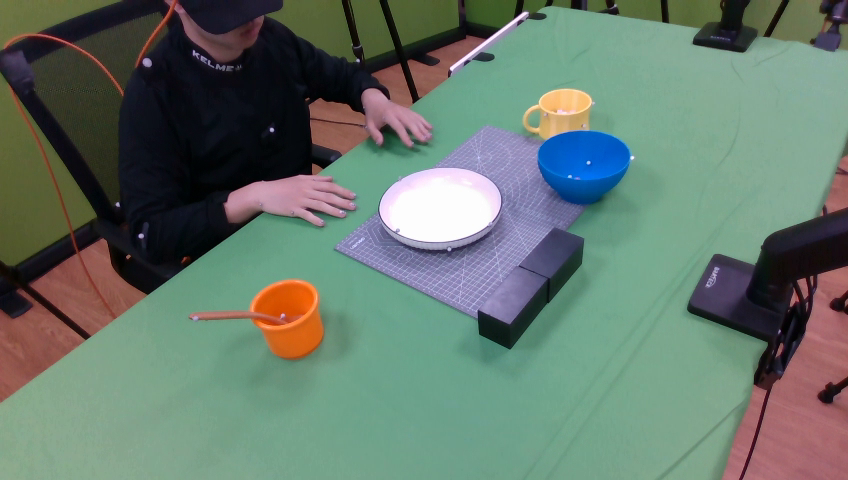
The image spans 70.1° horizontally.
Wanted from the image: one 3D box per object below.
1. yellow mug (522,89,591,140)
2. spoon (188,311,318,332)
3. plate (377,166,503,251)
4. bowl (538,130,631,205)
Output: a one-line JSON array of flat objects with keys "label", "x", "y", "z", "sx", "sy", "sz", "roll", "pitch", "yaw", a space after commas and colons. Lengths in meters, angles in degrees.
[{"label": "yellow mug", "x": 0.257, "y": -0.239, "z": 1.177, "sx": 0.131, "sy": 0.064, "sz": 0.099, "roll": -6, "pitch": 41, "yaw": 3}, {"label": "spoon", "x": -0.216, "y": 0.102, "z": 0.783, "sx": 0.041, "sy": 0.195, "sz": 0.021, "roll": 26, "pitch": 95, "yaw": 39}, {"label": "plate", "x": 0.027, "y": -0.050, "z": 1.007, "sx": 0.209, "sy": 0.038, "sz": 0.208, "roll": -4, "pitch": 41, "yaw": 4}, {"label": "bowl", "x": 0.265, "y": -0.113, "z": 1.014, "sx": 0.151, "sy": 0.077, "sz": 0.150, "roll": -4, "pitch": 40, "yaw": 4}]
